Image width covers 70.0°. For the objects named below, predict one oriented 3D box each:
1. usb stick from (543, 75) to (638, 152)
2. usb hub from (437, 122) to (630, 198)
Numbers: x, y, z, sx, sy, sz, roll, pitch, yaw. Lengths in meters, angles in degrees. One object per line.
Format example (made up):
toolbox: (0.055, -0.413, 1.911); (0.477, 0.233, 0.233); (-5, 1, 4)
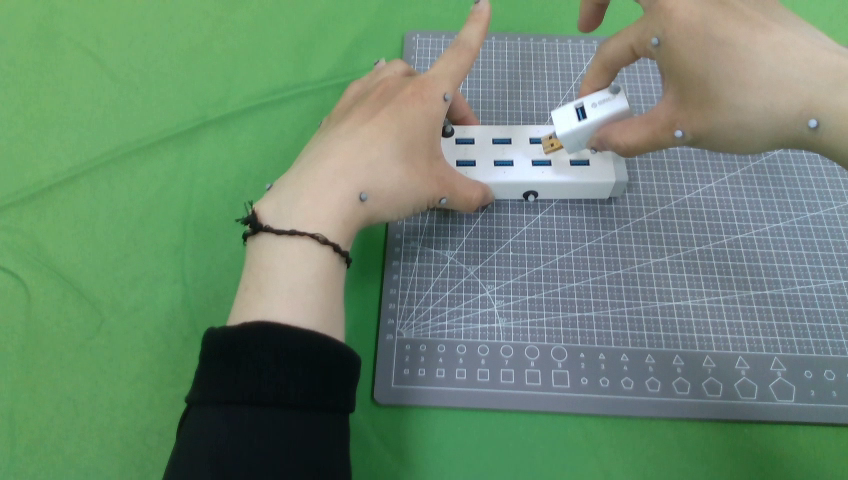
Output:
usb stick: (0.097, -0.074, 0.369); (0.059, 0.027, 0.021); (-25, 56, 31)
usb hub: (0.072, -0.055, 0.411); (0.125, 0.025, 0.049); (1, 62, -1)
